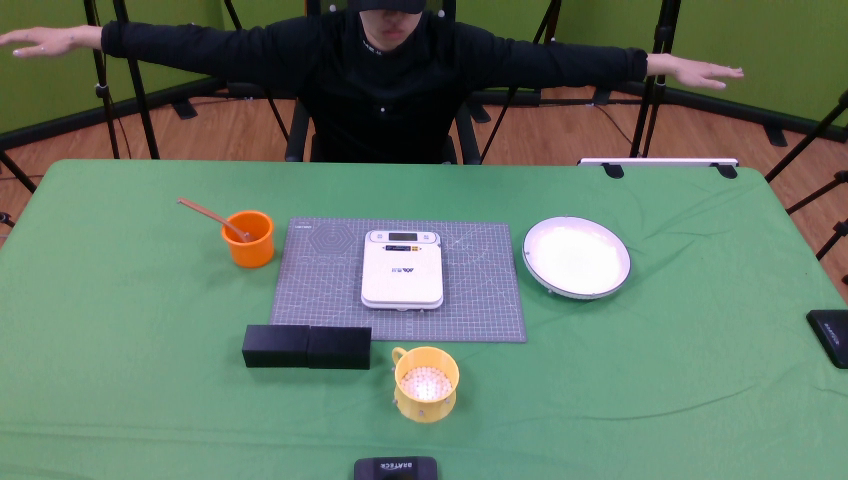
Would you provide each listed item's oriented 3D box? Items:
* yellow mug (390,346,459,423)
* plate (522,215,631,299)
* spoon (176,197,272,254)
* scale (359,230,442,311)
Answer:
[{"bbox_3d":[-0.009,0.217,0.958,0.100,0.064,0.130,-33,56,-31],"label":"yellow mug"},{"bbox_3d":[0.292,0.035,1.175,0.209,0.038,0.208,2,46,-2],"label":"plate"},{"bbox_3d":[-0.362,-0.028,1.108,0.021,0.195,0.041,-35,36,24],"label":"spoon"},{"bbox_3d":[-0.043,0.048,1.138,0.149,0.032,0.199,2,46,-3],"label":"scale"}]
